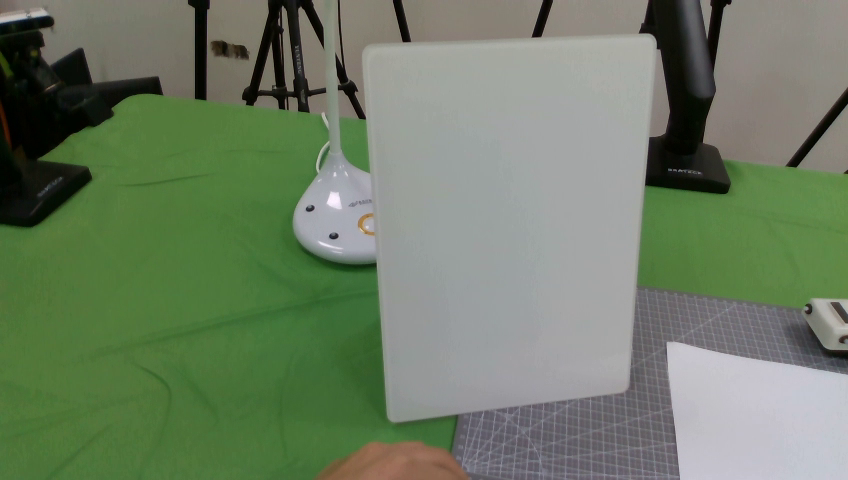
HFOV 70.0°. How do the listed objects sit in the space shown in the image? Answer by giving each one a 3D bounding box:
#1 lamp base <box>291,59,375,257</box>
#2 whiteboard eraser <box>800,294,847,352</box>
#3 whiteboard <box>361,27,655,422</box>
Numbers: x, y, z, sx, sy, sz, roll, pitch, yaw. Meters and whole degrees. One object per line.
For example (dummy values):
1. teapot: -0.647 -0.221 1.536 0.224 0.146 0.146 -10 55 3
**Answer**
1. lamp base: -0.083 -0.099 0.684 0.161 0.182 0.177 -24 42 -29
2. whiteboard eraser: 0.432 0.082 0.585 0.113 0.042 0.055 3 39 1
3. whiteboard: 0.060 -0.022 0.537 0.217 0.307 0.143 -5 19 -7
